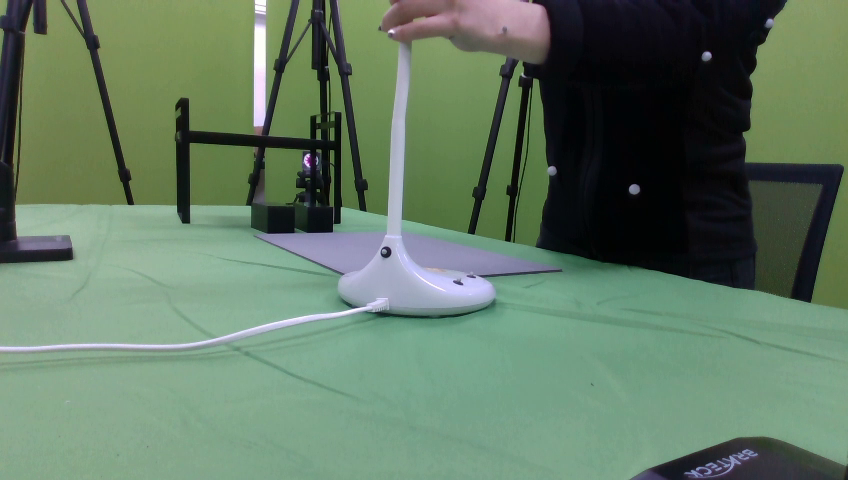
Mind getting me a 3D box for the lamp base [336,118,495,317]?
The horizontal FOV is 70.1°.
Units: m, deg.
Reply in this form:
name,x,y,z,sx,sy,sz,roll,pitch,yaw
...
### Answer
name,x,y,z,sx,sy,sz,roll,pitch,yaw
lamp base,-0.009,-0.025,0.589,0.160,0.180,0.179,4,10,14
